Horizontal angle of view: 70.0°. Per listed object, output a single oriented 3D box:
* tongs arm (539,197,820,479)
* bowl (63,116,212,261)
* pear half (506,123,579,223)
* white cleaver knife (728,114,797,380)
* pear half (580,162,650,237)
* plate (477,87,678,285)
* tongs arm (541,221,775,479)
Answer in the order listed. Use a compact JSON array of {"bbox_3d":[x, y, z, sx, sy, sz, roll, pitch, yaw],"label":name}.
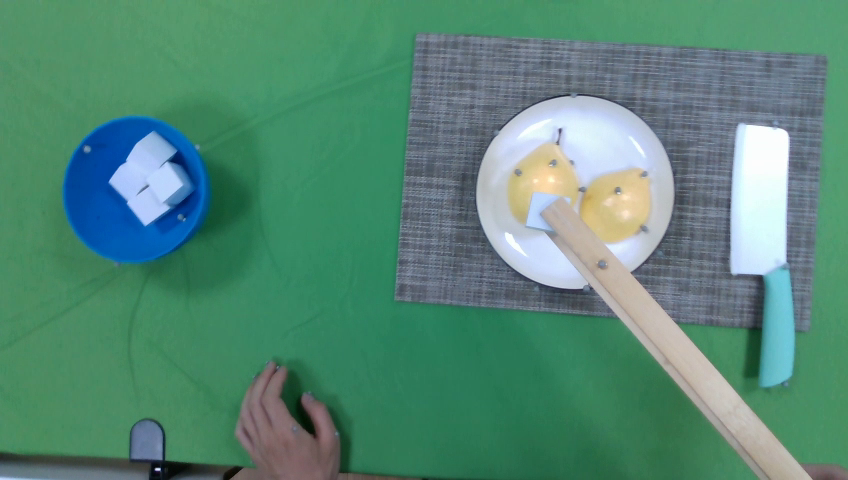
[{"bbox_3d":[0.228,0.114,0.485,0.028,0.028,0.385,-40,77,2],"label":"tongs arm"},{"bbox_3d":[-0.294,-0.051,0.656,0.151,0.077,0.151,0,89,3],"label":"bowl"},{"bbox_3d":[0.129,-0.075,0.638,0.076,0.056,0.109,14,86,-1],"label":"pear half"},{"bbox_3d":[0.361,0.006,0.651,0.066,0.021,0.285,0,85,12],"label":"white cleaver knife"},{"bbox_3d":[0.208,-0.046,0.642,0.070,0.031,0.088,36,98,0],"label":"pear half"},{"bbox_3d":[0.161,-0.056,0.649,0.207,0.039,0.207,0,89,3],"label":"plate"},{"bbox_3d":[0.234,0.117,0.510,0.026,0.051,0.383,-41,81,5],"label":"tongs arm"}]
